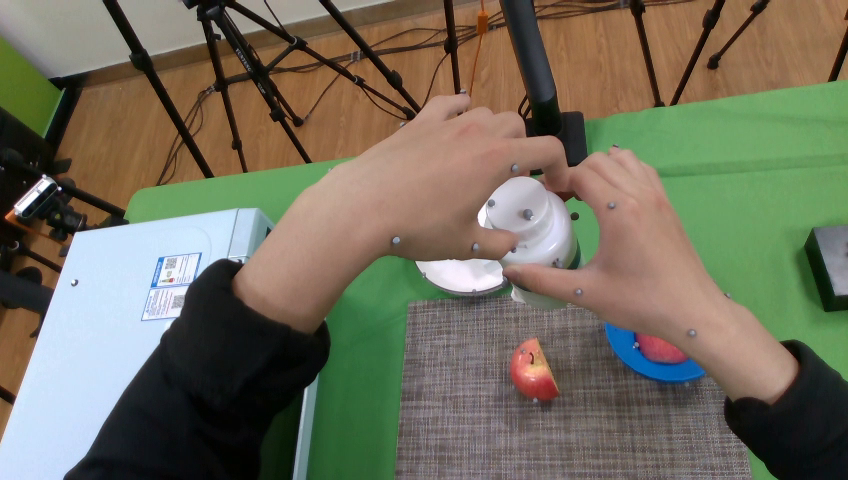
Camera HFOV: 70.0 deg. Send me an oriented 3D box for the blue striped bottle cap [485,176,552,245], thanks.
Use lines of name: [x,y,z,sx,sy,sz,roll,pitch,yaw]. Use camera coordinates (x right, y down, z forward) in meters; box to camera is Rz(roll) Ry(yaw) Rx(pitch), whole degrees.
blue striped bottle cap: [0.064,-0.021,0.412,0.044,0.021,0.044,-7,66,17]

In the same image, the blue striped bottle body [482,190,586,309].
blue striped bottle body: [0.083,0.004,0.458,0.063,0.122,0.062,-10,61,19]

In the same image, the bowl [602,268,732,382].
bowl: [0.312,0.120,0.789,0.151,0.077,0.150,-9,58,15]

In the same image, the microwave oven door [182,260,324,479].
microwave oven door: [-0.212,0.235,0.783,0.039,0.246,0.352,-7,59,15]

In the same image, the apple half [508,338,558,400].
apple half: [0.142,0.179,0.815,0.053,0.075,0.080,-24,60,8]

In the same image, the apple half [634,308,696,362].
apple half: [0.312,0.119,0.784,0.081,0.033,0.080,-9,57,14]

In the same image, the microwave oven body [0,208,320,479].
microwave oven body: [-0.350,0.219,0.845,0.325,0.263,0.438,-7,60,14]

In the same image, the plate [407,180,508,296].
plate: [0.076,-0.001,0.969,0.207,0.039,0.206,-8,59,14]

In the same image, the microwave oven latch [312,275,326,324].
microwave oven latch: [-0.175,0.096,0.975,0.030,0.030,0.078,-8,59,13]
